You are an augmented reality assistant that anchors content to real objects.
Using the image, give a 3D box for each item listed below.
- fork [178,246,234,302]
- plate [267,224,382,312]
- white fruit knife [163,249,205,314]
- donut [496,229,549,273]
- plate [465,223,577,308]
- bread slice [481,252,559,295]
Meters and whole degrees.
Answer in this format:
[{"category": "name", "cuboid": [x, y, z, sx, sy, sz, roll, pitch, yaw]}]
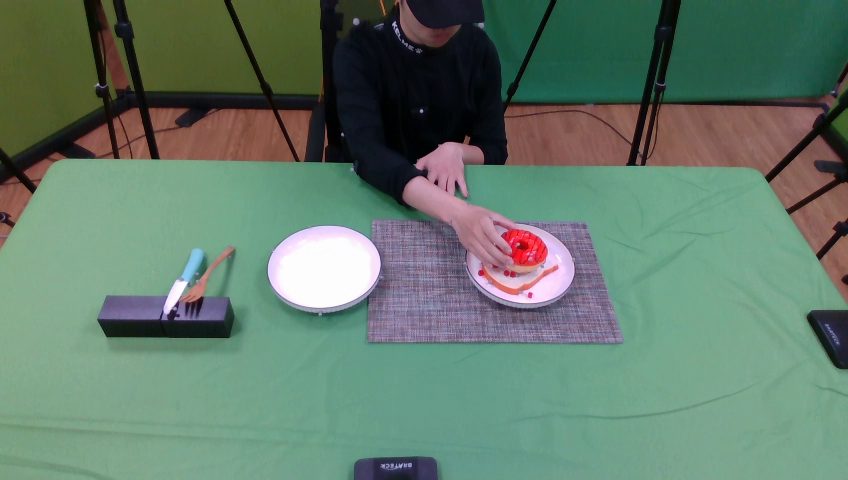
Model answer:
[{"category": "fork", "cuboid": [-0.380, 0.057, 1.075, 0.028, 0.019, 0.206, 3, 28, 5]}, {"category": "plate", "cuboid": [-0.182, 0.055, 1.120, 0.208, 0.039, 0.206, 2, 46, -2]}, {"category": "white fruit knife", "cuboid": [-0.420, 0.070, 1.063, 0.027, 0.016, 0.206, -1, 29, -2]}, {"category": "donut", "cuboid": [0.181, 0.020, 1.118, 0.099, 0.048, 0.098, 1, 44, -1]}, {"category": "plate", "cuboid": [0.180, 0.051, 1.144, 0.209, 0.038, 0.208, 2, 46, -2]}, {"category": "bread slice", "cuboid": [0.177, 0.050, 1.148, 0.131, 0.019, 0.104, -32, 55, -31]}]
